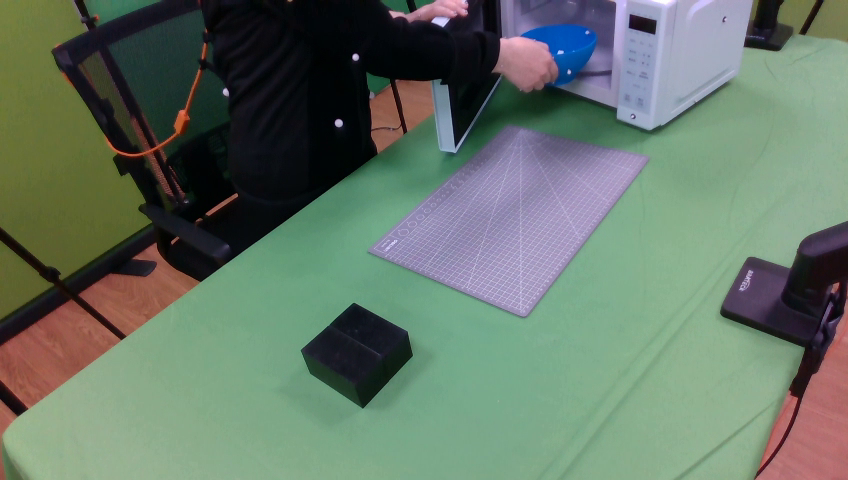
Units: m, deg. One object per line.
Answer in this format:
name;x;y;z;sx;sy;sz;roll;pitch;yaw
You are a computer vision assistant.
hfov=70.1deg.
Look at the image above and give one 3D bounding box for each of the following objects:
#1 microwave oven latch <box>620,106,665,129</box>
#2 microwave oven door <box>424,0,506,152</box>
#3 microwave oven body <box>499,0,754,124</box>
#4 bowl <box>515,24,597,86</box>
microwave oven latch;0.413;-0.237;1.146;0.030;0.029;0.078;-32;44;-23
microwave oven door;0.093;-0.375;1.214;0.039;0.245;0.355;9;44;21
microwave oven body;0.402;-0.458;1.259;0.327;0.261;0.437;-33;45;-24
bowl;0.252;-0.348;1.158;0.151;0.077;0.150;-6;38;5
